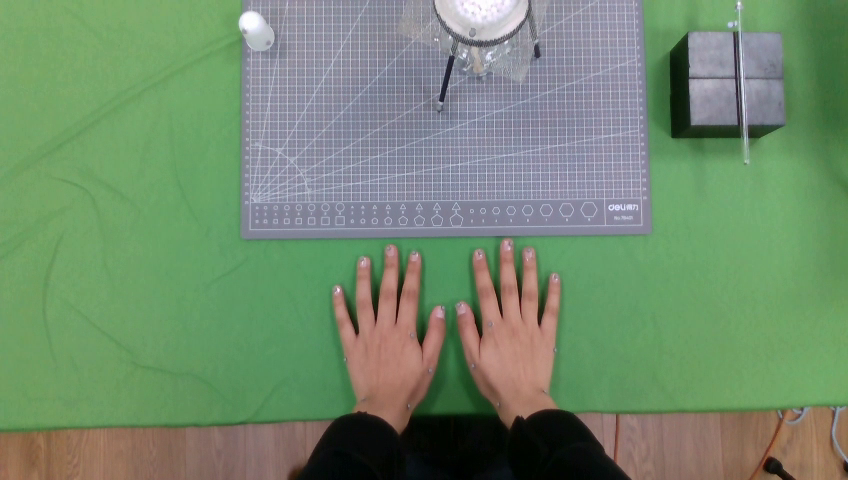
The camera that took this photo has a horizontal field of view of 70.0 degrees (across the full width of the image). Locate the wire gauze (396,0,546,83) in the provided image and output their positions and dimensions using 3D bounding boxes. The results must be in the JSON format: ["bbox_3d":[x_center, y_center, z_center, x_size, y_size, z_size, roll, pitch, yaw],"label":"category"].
[{"bbox_3d":[0.051,-0.221,0.550,0.125,0.011,0.121,21,87,-2],"label":"wire gauze"}]

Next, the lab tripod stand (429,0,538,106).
[{"bbox_3d":[0.054,-0.217,0.615,0.148,0.131,0.148,0,83,-1],"label":"lab tripod stand"}]

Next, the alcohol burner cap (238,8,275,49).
[{"bbox_3d":[-0.184,-0.232,0.659,0.034,0.048,0.034,0,84,1],"label":"alcohol burner cap"}]

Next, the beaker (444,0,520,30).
[{"bbox_3d":[0.051,-0.229,0.502,0.074,0.100,0.084,-25,85,-3],"label":"beaker"}]

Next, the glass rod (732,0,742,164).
[{"bbox_3d":[0.326,-0.178,0.632,0.008,0.008,0.199,1,86,0],"label":"glass rod"}]

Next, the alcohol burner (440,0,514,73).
[{"bbox_3d":[0.057,-0.219,0.625,0.078,0.119,0.077,0,85,-2],"label":"alcohol burner"}]
